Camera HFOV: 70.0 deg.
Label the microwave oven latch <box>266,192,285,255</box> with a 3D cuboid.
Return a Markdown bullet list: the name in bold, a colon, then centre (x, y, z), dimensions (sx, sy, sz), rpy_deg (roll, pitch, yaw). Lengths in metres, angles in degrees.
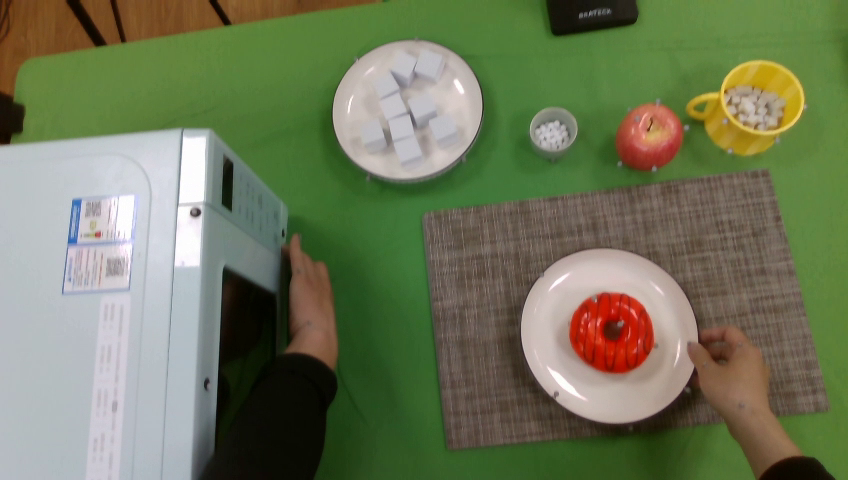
- **microwave oven latch**: centre (-0.198, -0.021, 0.789), dimensions (0.030, 0.029, 0.079), rpy_deg (-1, 76, 5)

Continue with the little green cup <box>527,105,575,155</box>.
- **little green cup**: centre (0.167, -0.143, 0.804), dimensions (0.061, 0.039, 0.061), rpy_deg (-1, 75, 5)

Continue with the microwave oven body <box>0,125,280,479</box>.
- **microwave oven body**: centre (-0.346, 0.136, 0.663), dimensions (0.326, 0.261, 0.439), rpy_deg (-4, 76, 4)

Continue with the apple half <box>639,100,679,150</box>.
- **apple half**: centre (0.302, -0.148, 0.774), dimensions (0.033, 0.082, 0.081), rpy_deg (-33, 74, 2)

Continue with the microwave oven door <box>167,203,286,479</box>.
- **microwave oven door**: centre (-0.199, 0.165, 0.637), dimensions (0.039, 0.245, 0.354), rpy_deg (-5, 75, 4)

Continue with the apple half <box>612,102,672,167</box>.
- **apple half**: centre (0.270, -0.126, 0.773), dimensions (0.053, 0.075, 0.080), rpy_deg (-33, 78, 1)

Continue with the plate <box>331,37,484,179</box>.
- **plate**: centre (-0.022, -0.178, 0.831), dimensions (0.207, 0.039, 0.206), rpy_deg (-1, 76, 5)

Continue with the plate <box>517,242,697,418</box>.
- **plate**: centre (0.217, 0.106, 0.732), dimensions (0.209, 0.038, 0.208), rpy_deg (-1, 76, 6)

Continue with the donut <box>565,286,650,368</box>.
- **donut**: centre (0.218, 0.103, 0.722), dimensions (0.099, 0.048, 0.098), rpy_deg (-1, 78, 6)

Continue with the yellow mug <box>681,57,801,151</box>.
- **yellow mug**: centre (0.398, -0.173, 0.775), dimensions (0.130, 0.064, 0.099), rpy_deg (3, 76, 7)
